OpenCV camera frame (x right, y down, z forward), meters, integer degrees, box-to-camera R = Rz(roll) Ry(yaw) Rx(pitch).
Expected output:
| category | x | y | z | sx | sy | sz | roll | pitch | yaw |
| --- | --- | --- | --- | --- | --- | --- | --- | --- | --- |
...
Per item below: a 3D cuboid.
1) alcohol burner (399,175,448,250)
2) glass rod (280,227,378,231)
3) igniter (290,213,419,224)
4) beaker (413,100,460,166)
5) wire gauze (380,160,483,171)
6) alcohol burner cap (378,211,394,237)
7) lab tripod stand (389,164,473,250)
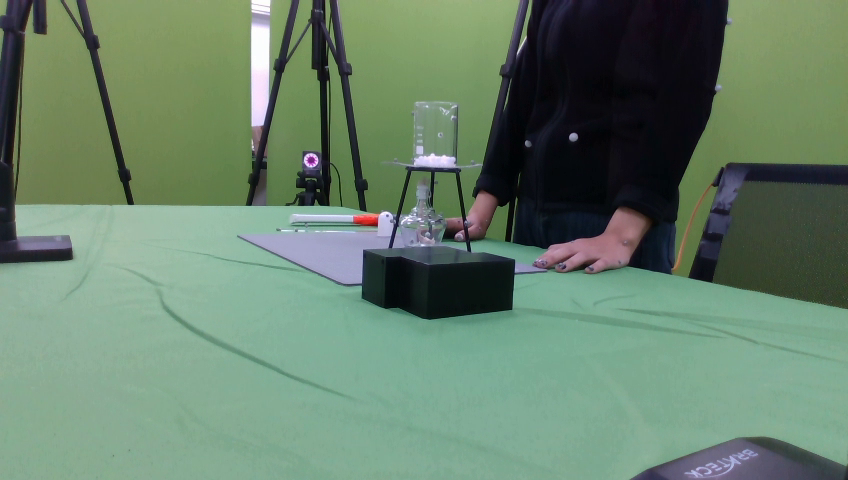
| category | x | y | z | sx | sy | sz | roll | pitch | yaw |
| --- | --- | --- | --- | --- | --- | --- | --- | --- | --- |
| alcohol burner | -0.001 | -0.044 | 0.962 | 0.078 | 0.119 | 0.078 | 0 | 8 | 0 |
| glass rod | -0.175 | -0.021 | 1.161 | 0.200 | 0.008 | 0.008 | 0 | 7 | -15 |
| igniter | -0.143 | -0.046 | 1.288 | 0.278 | 0.025 | 0.057 | -1 | -3 | -24 |
| beaker | 0.020 | -0.167 | 0.953 | 0.073 | 0.100 | 0.084 | 5 | 9 | 26 |
| wire gauze | 0.011 | -0.118 | 0.951 | 0.122 | 0.011 | 0.124 | -5 | 12 | -32 |
| alcohol burner cap | -0.069 | -0.030 | 1.112 | 0.034 | 0.048 | 0.034 | 1 | 9 | 0 |
| lab tripod stand | 0.011 | -0.054 | 0.961 | 0.148 | 0.131 | 0.148 | 2 | 9 | 0 |
